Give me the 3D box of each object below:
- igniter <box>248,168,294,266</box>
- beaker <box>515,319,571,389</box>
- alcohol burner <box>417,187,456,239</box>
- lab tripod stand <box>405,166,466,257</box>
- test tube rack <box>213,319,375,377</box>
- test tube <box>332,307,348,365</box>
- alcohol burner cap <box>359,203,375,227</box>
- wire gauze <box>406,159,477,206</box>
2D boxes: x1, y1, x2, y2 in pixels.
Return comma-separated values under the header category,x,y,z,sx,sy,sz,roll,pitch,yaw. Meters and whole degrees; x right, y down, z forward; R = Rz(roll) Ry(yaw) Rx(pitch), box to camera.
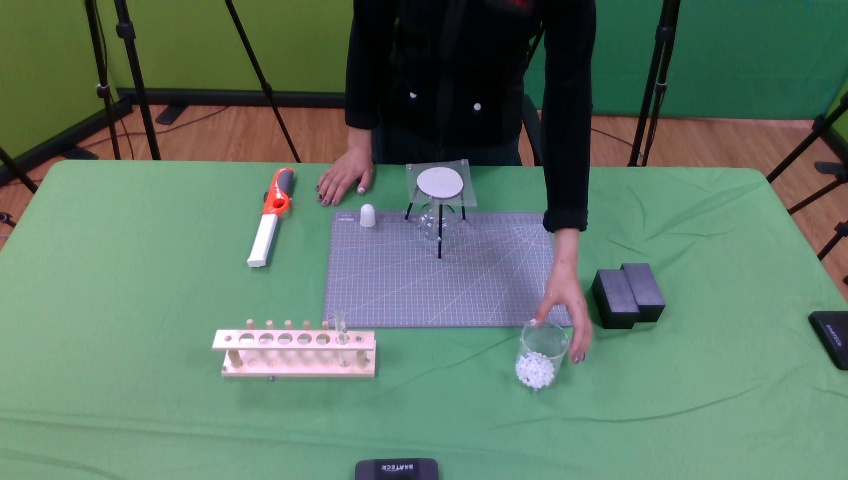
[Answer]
category,x,y,z,sx,sy,sz,roll,pitch,yaw
igniter,-0.307,-0.055,1.225,0.057,0.025,0.275,-3,45,6
beaker,0.186,0.186,0.979,0.074,0.101,0.083,-23,51,-24
alcohol burner,0.025,-0.059,1.189,0.078,0.120,0.077,1,48,-1
lab tripod stand,0.030,-0.063,1.180,0.148,0.132,0.147,3,47,-3
test tube rack,-0.202,0.170,0.977,0.242,0.085,0.066,1,46,-3
test tube,-0.128,0.151,0.931,0.017,0.151,0.017,2,50,-2
alcohol burner cap,-0.114,-0.053,1.223,0.034,0.048,0.033,3,46,-3
wire gauze,0.031,-0.108,1.129,0.125,0.011,0.120,-1,48,-4
